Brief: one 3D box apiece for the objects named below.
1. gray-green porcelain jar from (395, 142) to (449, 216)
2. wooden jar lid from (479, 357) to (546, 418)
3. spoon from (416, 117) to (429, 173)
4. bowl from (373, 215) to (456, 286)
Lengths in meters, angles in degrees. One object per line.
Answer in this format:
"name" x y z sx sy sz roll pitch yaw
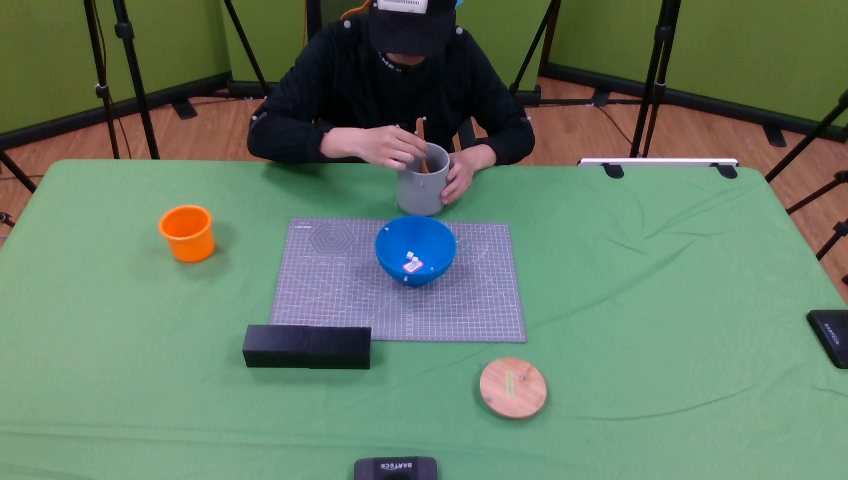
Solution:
"gray-green porcelain jar" -0.007 -0.120 1.241 0.106 0.127 0.105 2 46 -2
"wooden jar lid" 0.142 0.240 0.979 0.108 0.021 0.107 1 46 -1
"spoon" -0.006 -0.162 1.179 0.041 0.195 0.021 -5 47 1
"bowl" -0.019 0.032 1.122 0.151 0.077 0.150 2 46 -2
